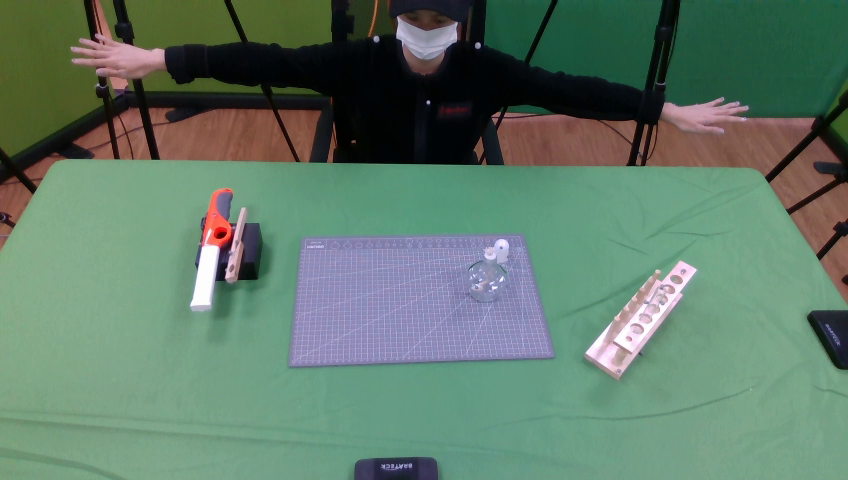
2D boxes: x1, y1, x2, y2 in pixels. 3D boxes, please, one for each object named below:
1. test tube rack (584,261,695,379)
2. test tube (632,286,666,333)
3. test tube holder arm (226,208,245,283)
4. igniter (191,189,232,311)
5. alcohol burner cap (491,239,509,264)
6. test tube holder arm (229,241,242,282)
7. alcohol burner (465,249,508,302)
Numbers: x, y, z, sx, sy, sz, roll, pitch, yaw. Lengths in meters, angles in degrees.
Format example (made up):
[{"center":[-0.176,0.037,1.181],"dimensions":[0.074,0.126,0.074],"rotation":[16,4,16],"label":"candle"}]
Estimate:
[{"center":[0.380,0.127,1.062],"dimensions":[0.066,0.085,0.242],"rotation":[34,53,26],"label":"test tube rack"},{"center":[0.363,0.125,0.993],"dimensions":[0.017,0.151,0.017],"rotation":[2,49,-2],"label":"test tube"},{"center":[-0.342,0.006,1.101],"dimensions":[0.013,0.015,0.177],"rotation":[-7,47,-2],"label":"test tube holder arm"},{"center":[-0.381,0.008,1.092],"dimensions":[0.057,0.025,0.274],"rotation":[-1,50,-6],"label":"igniter"},{"center":[0.150,0.020,1.174],"dimensions":[0.034,0.048,0.033],"rotation":[2,46,-2],"label":"alcohol burner cap"},{"center":[-0.332,0.037,1.070],"dimensions":[0.010,0.015,0.087],"rotation":[-6,47,-1],"label":"test tube holder arm"},{"center":[0.114,0.057,1.085],"dimensions":[0.078,0.120,0.077],"rotation":[2,48,-2],"label":"alcohol burner"}]
